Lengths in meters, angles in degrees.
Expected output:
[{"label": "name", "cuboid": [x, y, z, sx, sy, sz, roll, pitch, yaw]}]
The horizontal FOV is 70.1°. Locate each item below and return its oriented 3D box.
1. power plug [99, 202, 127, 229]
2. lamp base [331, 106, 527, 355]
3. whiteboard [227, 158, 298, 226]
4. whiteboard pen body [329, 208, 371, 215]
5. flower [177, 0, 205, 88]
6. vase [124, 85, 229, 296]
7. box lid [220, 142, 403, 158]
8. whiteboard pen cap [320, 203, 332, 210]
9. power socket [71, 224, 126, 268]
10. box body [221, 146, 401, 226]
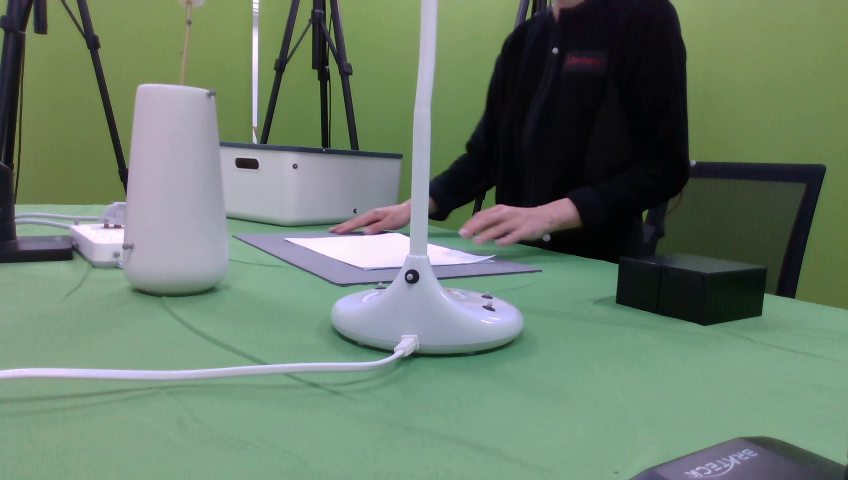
[{"label": "power plug", "cuboid": [-0.415, -0.026, 0.848, 0.073, 0.052, 0.035, 6, 5, -28]}, {"label": "lamp base", "cuboid": [0.006, -0.012, 0.478, 0.161, 0.180, 0.179, 2, 10, 2]}, {"label": "whiteboard", "cuboid": [-0.265, -0.116, 1.372, 0.216, 0.143, 0.307, 4, 7, 35]}, {"label": "whiteboard pen body", "cuboid": [-0.189, -0.073, 1.522, 0.140, 0.017, 0.017, 3, 6, 37]}, {"label": "flower", "cuboid": [-0.243, -0.131, 0.609, 0.044, 0.361, 0.038, -5, -12, 12]}, {"label": "vase", "cuboid": [-0.244, -0.047, 0.598, 0.098, 0.200, 0.098, 3, 8, 0]}, {"label": "box lid", "cuboid": [-0.252, -0.202, 1.368, 0.262, 0.015, 0.373, 9, 9, 36]}, {"label": "whiteboard pen cap", "cuboid": [-0.247, -0.083, 1.531, 0.033, 0.018, 0.018, 9, 10, 39]}, {"label": "power socket", "cuboid": [-0.409, 0.004, 0.793, 0.072, 0.032, 0.225, -2, 8, -37]}, {"label": "box body", "cuboid": [-0.254, -0.128, 1.379, 0.253, 0.160, 0.366, 8, 9, 36]}]
